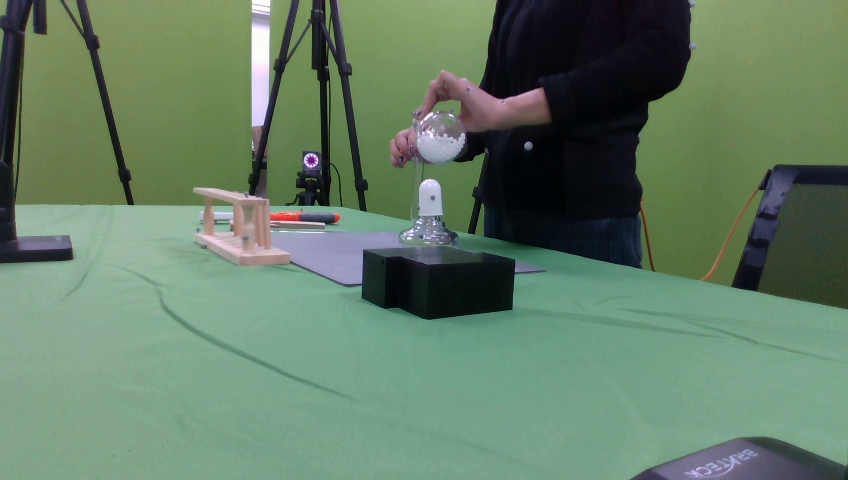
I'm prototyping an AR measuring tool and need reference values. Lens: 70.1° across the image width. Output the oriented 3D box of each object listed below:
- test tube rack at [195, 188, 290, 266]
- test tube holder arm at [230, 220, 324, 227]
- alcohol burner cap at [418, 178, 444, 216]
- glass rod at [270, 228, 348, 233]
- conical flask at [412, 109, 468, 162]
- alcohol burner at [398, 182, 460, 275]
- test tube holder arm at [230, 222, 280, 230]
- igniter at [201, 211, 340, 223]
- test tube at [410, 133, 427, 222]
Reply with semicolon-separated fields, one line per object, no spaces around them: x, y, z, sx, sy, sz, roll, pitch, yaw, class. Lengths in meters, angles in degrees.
-0.266;-0.025;0.864;0.067;0.085;0.241;-2;9;-33;test tube rack
-0.275;-0.030;1.144;0.179;0.015;0.013;-2;45;-31;test tube holder arm
0.007;-0.053;0.745;0.034;0.048;0.034;-3;6;1;alcohol burner cap
-0.234;-0.017;1.105;0.201;0.008;0.008;1;7;-26;glass rod
0.013;-0.164;0.889;0.075;0.075;0.121;0;21;-14;conical flask
0.007;-0.017;0.751;0.078;0.119;0.078;3;10;0;alcohol burner
-0.312;-0.025;1.118;0.088;0.015;0.010;-1;44;-30;test tube holder arm
-0.311;-0.047;1.243;0.278;0.025;0.057;-1;-2;-24;igniter
-0.009;-0.100;0.981;0.017;0.150;0.017;5;23;-2;test tube
